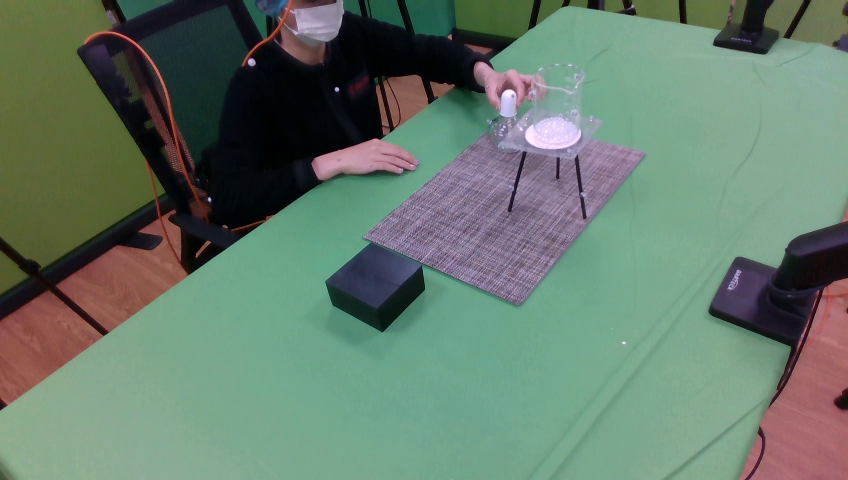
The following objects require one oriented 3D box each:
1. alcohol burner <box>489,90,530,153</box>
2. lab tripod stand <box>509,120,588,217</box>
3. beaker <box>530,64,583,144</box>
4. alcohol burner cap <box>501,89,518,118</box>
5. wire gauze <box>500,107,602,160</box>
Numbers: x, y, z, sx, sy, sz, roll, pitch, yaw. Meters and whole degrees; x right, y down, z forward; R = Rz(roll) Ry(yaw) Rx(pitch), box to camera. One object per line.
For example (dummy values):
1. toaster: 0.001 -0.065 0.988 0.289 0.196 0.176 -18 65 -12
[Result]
1. alcohol burner: 0.160 -0.226 1.136 0.078 0.119 0.077 -6 42 6
2. lab tripod stand: 0.207 -0.114 0.983 0.148 0.132 0.147 -5 42 5
3. beaker: 0.201 -0.201 0.909 0.074 0.101 0.083 -19 43 -10
4. alcohol burner cap: 0.158 -0.254 1.114 0.034 0.048 0.033 -2 39 2
5. wire gauze: 0.199 -0.166 0.945 0.120 0.011 0.125 17 50 28
